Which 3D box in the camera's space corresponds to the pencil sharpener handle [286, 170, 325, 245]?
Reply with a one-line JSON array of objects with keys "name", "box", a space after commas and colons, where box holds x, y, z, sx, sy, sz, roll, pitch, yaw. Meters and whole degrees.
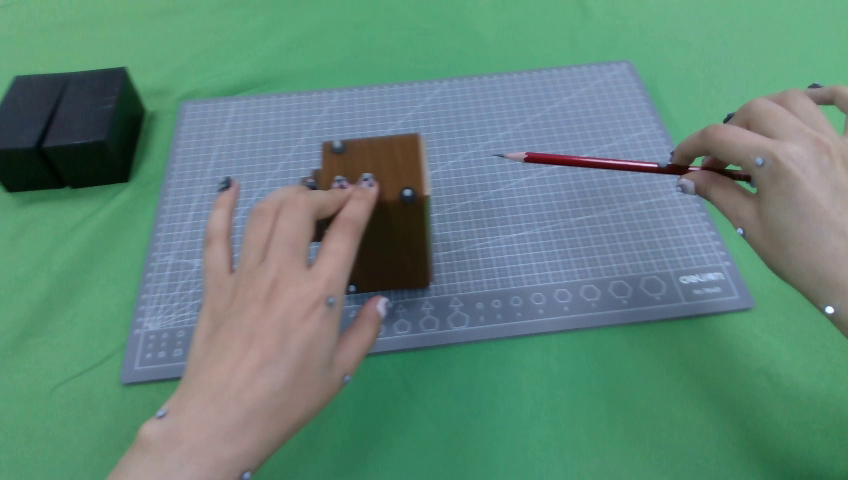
[{"name": "pencil sharpener handle", "box": [-0.086, -0.018, 0.418, 0.030, 0.068, 0.035, -5, 54, -1]}]

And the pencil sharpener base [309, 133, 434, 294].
[{"name": "pencil sharpener base", "box": [-0.034, -0.015, 0.429, 0.077, 0.108, 0.060, -5, 52, -1]}]

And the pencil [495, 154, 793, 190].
[{"name": "pencil", "box": [0.143, -0.046, 0.399, 0.194, 0.012, 0.012, 5, 52, 1]}]
